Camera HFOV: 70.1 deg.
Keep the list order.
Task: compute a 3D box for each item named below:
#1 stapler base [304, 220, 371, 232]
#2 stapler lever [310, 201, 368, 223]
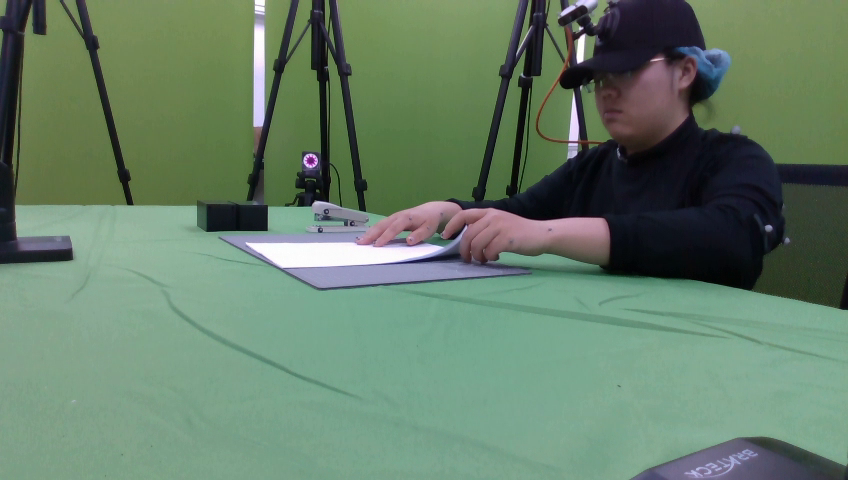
[{"bbox_3d":[-0.169,-0.029,1.186,0.131,0.024,0.041,0,10,-33],"label":"stapler base"},{"bbox_3d":[-0.166,-0.054,1.185,0.119,0.040,0.026,0,10,-33],"label":"stapler lever"}]
